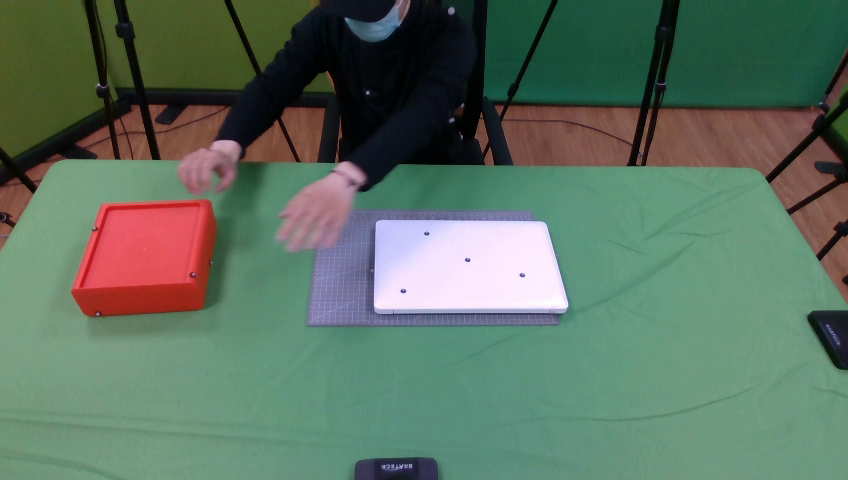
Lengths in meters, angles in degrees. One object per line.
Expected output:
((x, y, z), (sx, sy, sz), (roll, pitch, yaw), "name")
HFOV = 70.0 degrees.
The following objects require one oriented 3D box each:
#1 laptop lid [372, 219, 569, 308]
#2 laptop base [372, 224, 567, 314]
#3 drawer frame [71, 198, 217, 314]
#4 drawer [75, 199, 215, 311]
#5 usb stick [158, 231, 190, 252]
((0.081, 0.039, 1.152), (0.357, 0.013, 0.240), (2, 44, -3), "laptop lid")
((0.080, 0.049, 1.158), (0.355, 0.023, 0.234), (0, 43, -4), "laptop base")
((-0.493, 0.024, 1.095), (0.202, 0.083, 0.212), (-3, 47, -8), "drawer frame")
((-0.494, 0.023, 1.097), (0.195, 0.073, 0.210), (-2, 47, -8), "drawer")
((-0.475, 0.001, 1.145), (0.059, 0.027, 0.021), (13, 41, 9), "usb stick")
